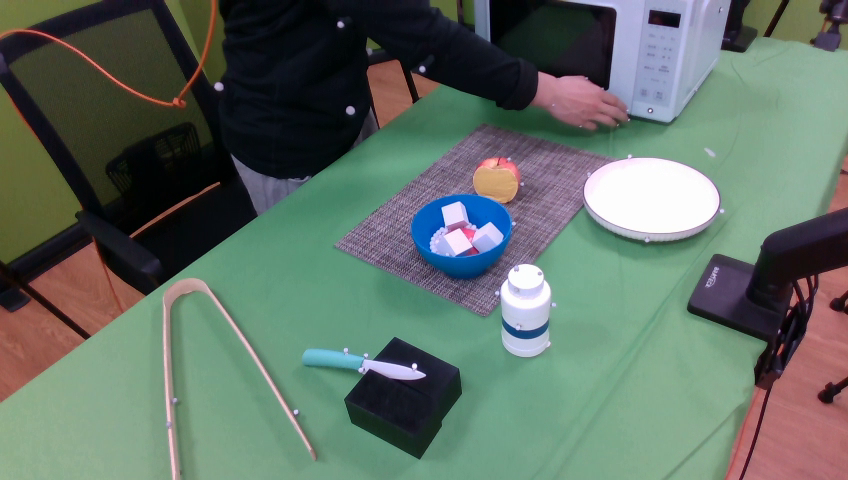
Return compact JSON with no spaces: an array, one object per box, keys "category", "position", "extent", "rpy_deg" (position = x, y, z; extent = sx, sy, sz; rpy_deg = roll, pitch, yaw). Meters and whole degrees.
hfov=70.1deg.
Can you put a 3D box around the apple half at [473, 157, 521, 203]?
[{"category":"apple half","position":[0.128,-0.106,1.030],"extent":[0.080,0.075,0.053],"rpy_deg":[4,38,19]}]

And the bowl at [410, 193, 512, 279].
[{"category":"bowl","position":[0.057,0.005,0.905],"extent":[0.151,0.077,0.150],"rpy_deg":[-3,40,3]}]

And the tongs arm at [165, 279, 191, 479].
[{"category":"tongs arm","position":[-0.313,0.182,0.789],"extent":[0.051,0.026,0.381],"rpy_deg":[-20,40,-13]}]

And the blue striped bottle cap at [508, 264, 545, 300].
[{"category":"blue striped bottle cap","position":[0.125,0.051,0.735],"extent":[0.044,0.021,0.044],"rpy_deg":[-6,38,5]}]

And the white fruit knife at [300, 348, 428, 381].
[{"category":"white fruit knife","position":[-0.079,0.154,0.748],"extent":[0.206,0.027,0.016],"rpy_deg":[1,20,34]}]

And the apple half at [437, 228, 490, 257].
[{"category":"apple half","position":[0.056,0.002,0.902],"extent":[0.081,0.033,0.081],"rpy_deg":[-3,40,3]}]

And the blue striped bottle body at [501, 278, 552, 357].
[{"category":"blue striped bottle body","position":[0.129,0.089,0.769],"extent":[0.063,0.121,0.063],"rpy_deg":[-4,41,4]}]

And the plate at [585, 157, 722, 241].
[{"category":"plate","position":[0.367,-0.063,0.979],"extent":[0.207,0.039,0.206],"rpy_deg":[-4,40,4]}]

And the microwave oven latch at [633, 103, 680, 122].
[{"category":"microwave oven latch","position":[0.443,-0.249,1.158],"extent":[0.078,0.029,0.030],"rpy_deg":[21,49,30]}]

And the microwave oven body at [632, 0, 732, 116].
[{"category":"microwave oven body","position":[0.377,-0.463,1.267],"extent":[0.438,0.261,0.327],"rpy_deg":[21,49,30]}]

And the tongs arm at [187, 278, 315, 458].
[{"category":"tongs arm","position":[-0.241,0.154,0.815],"extent":[0.028,0.028,0.384],"rpy_deg":[-32,45,-21]}]

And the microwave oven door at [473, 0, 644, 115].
[{"category":"microwave oven door","position":[0.257,-0.396,1.199],"extent":[0.353,0.245,0.039],"rpy_deg":[21,48,29]}]
